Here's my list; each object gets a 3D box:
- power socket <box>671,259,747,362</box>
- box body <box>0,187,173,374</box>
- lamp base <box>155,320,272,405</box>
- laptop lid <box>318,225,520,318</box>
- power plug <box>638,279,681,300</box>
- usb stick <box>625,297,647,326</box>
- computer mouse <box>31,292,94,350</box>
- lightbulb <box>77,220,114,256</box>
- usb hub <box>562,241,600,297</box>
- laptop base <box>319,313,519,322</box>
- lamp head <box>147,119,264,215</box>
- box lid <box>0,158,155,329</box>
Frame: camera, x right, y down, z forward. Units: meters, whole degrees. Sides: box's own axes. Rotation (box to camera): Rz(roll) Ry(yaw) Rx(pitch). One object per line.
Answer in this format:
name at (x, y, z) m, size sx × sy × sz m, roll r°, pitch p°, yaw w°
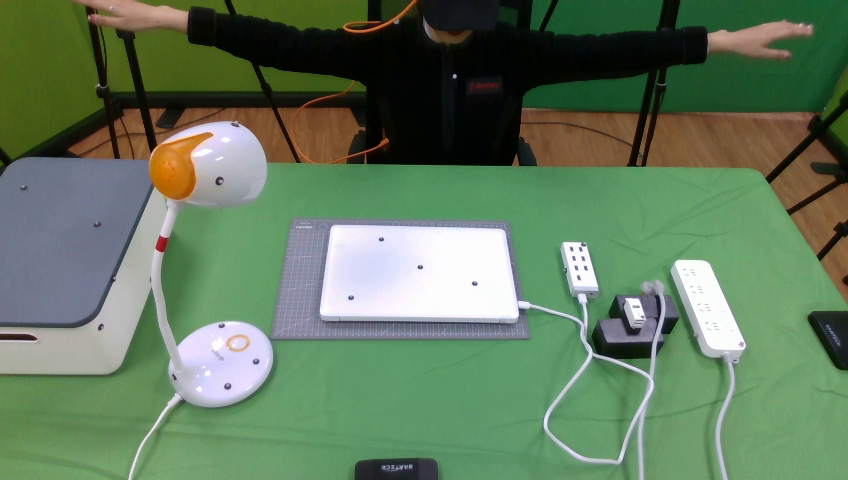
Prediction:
power socket at (0.516, 0.119, 1.108) m, size 0.072 × 0.033 × 0.225 m, roll 1°, pitch 46°, yaw -2°
box body at (-0.601, 0.039, 1.019) m, size 0.254 × 0.161 × 0.361 m, roll 1°, pitch 46°, yaw -3°
lamp base at (-0.330, 0.149, 0.918) m, size 0.160 × 0.181 × 0.179 m, roll 26°, pitch 52°, yaw 20°
laptop lid at (-0.009, 0.052, 1.131) m, size 0.357 × 0.013 × 0.240 m, roll 2°, pitch 43°, yaw -2°
power plug at (0.434, 0.099, 1.118) m, size 0.073 × 0.053 × 0.035 m, roll 34°, pitch 37°, yaw -15°
usb stick at (0.360, 0.116, 1.034) m, size 0.021 × 0.027 × 0.059 m, roll -2°, pitch 44°, yaw -2°
computer mouse at (-0.602, 0.130, 1.009) m, size 0.063 × 0.041 × 0.116 m, roll -1°, pitch 42°, yaw -1°
lightbulb at (-0.614, -0.009, 1.139) m, size 0.059 × 0.060 × 0.107 m, roll -13°, pitch 27°, yaw -16°
usb hub at (0.300, 0.054, 1.162) m, size 0.049 × 0.025 × 0.124 m, roll 3°, pitch 46°, yaw -3°
laptop base at (-0.009, 0.062, 1.137) m, size 0.354 × 0.023 × 0.234 m, roll 1°, pitch 42°, yaw -3°
lamp head at (-0.276, -0.087, 0.740) m, size 0.112 × 0.112 × 0.123 m, roll 20°, pitch 23°, yaw 15°
box lid at (-0.598, -0.011, 0.964) m, size 0.263 × 0.015 × 0.369 m, roll 1°, pitch 45°, yaw -3°
